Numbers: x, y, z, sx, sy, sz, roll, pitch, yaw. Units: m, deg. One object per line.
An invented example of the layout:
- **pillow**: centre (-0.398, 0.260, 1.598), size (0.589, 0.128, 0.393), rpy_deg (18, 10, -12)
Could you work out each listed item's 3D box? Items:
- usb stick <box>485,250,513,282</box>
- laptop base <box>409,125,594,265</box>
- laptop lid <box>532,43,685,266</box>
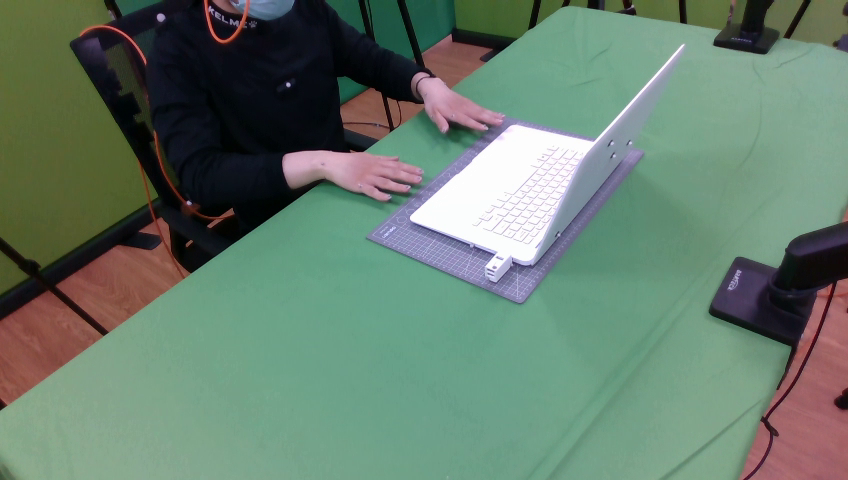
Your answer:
- **usb stick**: centre (0.115, 0.034, 0.895), size (0.021, 0.027, 0.059), rpy_deg (22, 46, 32)
- **laptop base**: centre (0.168, -0.094, 1.056), size (0.233, 0.023, 0.355), rpy_deg (19, 47, 32)
- **laptop lid**: centre (0.280, -0.130, 0.907), size (0.013, 0.242, 0.357), rpy_deg (34, 52, 17)
